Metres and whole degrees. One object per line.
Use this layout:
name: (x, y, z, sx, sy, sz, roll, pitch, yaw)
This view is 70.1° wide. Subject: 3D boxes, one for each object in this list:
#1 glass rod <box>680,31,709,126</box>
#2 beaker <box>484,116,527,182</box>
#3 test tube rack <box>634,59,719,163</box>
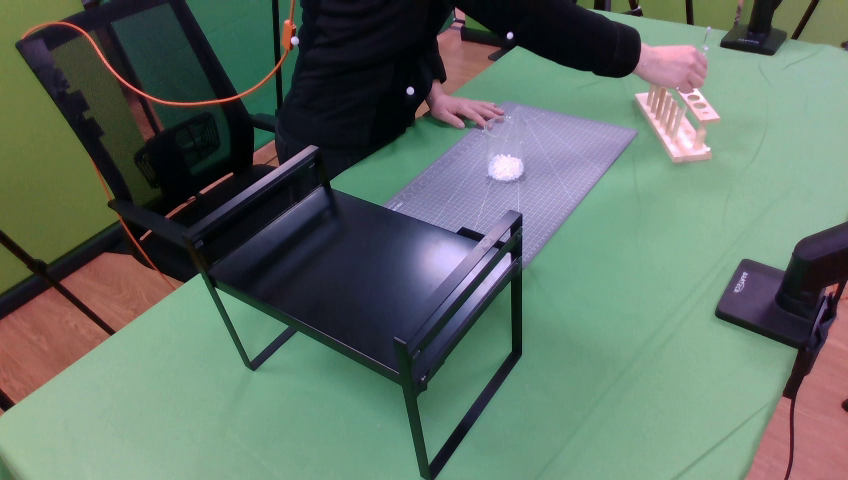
glass rod: (0.484, -0.284, 1.084, 0.008, 0.200, 0.008, -4, 50, 5)
beaker: (0.147, -0.161, 1.079, 0.073, 0.101, 0.084, 13, 44, 22)
test tube rack: (0.471, -0.250, 1.148, 0.067, 0.085, 0.241, -6, 40, 3)
